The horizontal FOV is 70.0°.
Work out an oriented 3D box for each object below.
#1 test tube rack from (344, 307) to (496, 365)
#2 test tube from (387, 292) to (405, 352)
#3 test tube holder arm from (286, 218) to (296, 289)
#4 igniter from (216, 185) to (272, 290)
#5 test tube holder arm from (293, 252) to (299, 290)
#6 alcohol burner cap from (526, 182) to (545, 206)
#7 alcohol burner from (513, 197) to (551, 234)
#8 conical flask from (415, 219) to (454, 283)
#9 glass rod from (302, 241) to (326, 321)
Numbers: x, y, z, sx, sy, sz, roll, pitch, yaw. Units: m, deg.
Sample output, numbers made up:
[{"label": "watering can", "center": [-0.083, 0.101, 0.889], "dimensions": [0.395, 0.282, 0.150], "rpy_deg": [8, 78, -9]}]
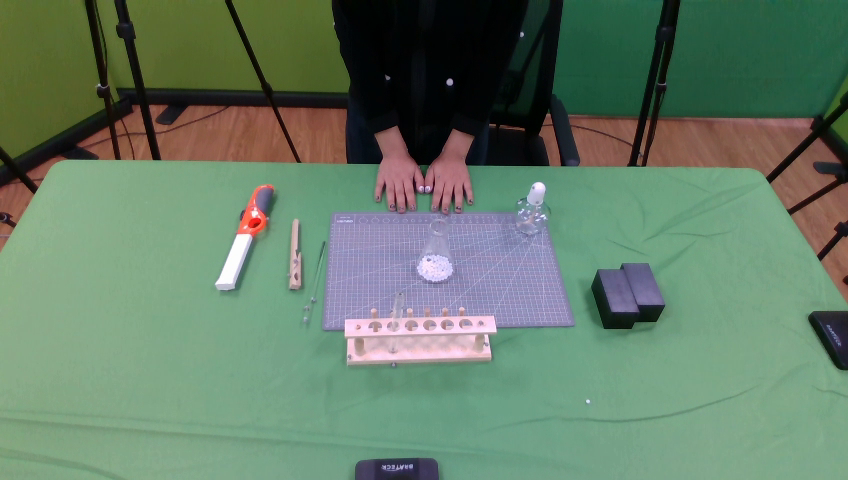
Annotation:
[{"label": "test tube rack", "center": [-0.009, 0.154, 1.007], "dimensions": [0.242, 0.085, 0.066], "rpy_deg": [-1, 46, -5]}, {"label": "test tube", "center": [-0.045, 0.133, 0.956], "dimensions": [0.017, 0.151, 0.017], "rpy_deg": [5, 47, -5]}, {"label": "test tube holder arm", "center": [-0.254, 0.022, 1.158], "dimensions": [0.013, 0.015, 0.177], "rpy_deg": [24, 35, -35]}, {"label": "igniter", "center": [-0.347, -0.014, 1.182], "dimensions": [0.057, 0.025, 0.275], "rpy_deg": [-1, 45, 8]}, {"label": "test tube holder arm", "center": [-0.241, 0.056, 1.131], "dimensions": [0.010, 0.015, 0.087], "rpy_deg": [25, 35, -34]}, {"label": "alcohol burner cap", "center": [0.222, -0.092, 1.190], "dimensions": [0.034, 0.048, 0.033], "rpy_deg": [2, 54, -3]}, {"label": "alcohol burner", "center": [0.220, -0.069, 1.217], "dimensions": [0.078, 0.119, 0.077], "rpy_deg": [3, 47, -3]}, {"label": "conical flask", "center": [0.022, 0.016, 1.113], "dimensions": [0.075, 0.122, 0.075], "rpy_deg": [2, 46, -2]}, {"label": "glass rod", "center": [-0.203, 0.071, 1.124], "dimensions": [0.008, 0.008, 0.198], "rpy_deg": [5, 44, 1]}]
